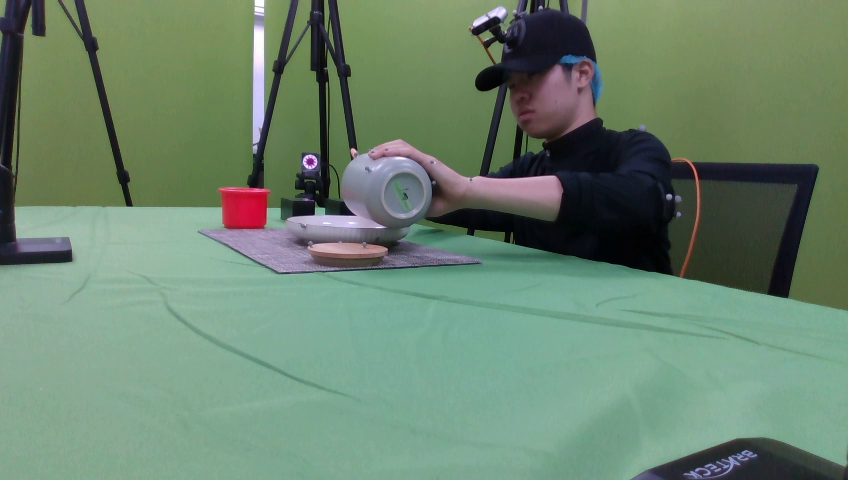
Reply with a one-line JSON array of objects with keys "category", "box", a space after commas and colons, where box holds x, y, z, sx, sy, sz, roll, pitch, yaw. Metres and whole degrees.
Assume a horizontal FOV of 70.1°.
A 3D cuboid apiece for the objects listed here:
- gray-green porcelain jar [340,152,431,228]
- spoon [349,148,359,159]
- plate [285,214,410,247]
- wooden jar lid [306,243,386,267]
[{"category": "gray-green porcelain jar", "box": [-0.056, -0.075, 0.900, 0.106, 0.106, 0.126, -1, 10, -26]}, {"category": "spoon", "box": [-0.081, -0.094, 0.944, 0.042, 0.021, 0.193, 11, 26, -40]}, {"category": "plate", "box": [-0.127, -0.015, 1.012, 0.208, 0.039, 0.207, 3, 7, 0]}, {"category": "wooden jar lid", "box": [-0.105, 0.020, 0.816, 0.108, 0.020, 0.108, 1, 7, 0]}]
